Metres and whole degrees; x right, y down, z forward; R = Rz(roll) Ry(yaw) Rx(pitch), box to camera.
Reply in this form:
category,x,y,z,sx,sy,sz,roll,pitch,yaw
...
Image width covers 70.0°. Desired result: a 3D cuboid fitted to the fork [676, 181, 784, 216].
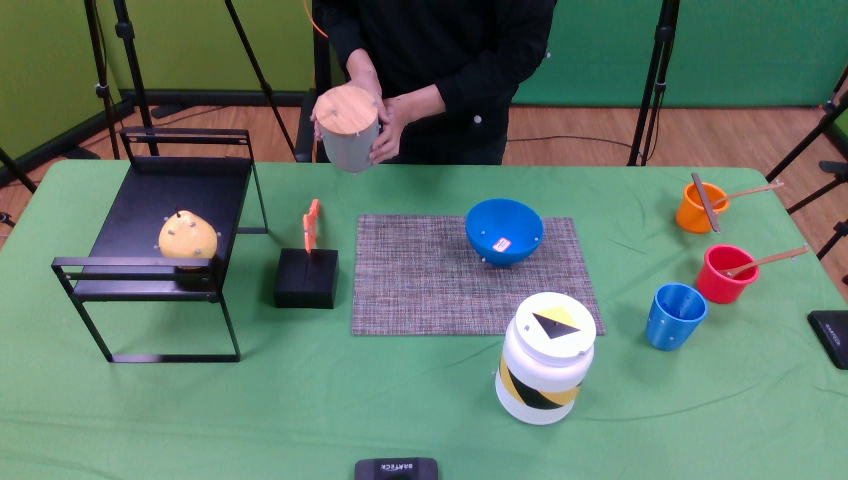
category,x,y,z,sx,sy,sz,roll,pitch,yaw
fork,0.618,-0.084,1.235,0.019,0.207,0.028,54,40,-16

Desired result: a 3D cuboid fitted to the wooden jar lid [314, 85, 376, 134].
category,x,y,z,sx,sy,sz,roll,pitch,yaw
wooden jar lid,-0.137,-0.224,1.056,0.108,0.021,0.108,2,61,-3

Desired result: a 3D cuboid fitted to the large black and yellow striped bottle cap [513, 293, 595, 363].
category,x,y,z,sx,sy,sz,roll,pitch,yaw
large black and yellow striped bottle cap,0.186,0.123,0.863,0.115,0.019,0.114,3,45,-3

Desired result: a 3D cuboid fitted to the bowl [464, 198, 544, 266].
category,x,y,z,sx,sy,sz,roll,pitch,yaw
bowl,0.149,-0.003,1.168,0.151,0.077,0.150,2,46,-2

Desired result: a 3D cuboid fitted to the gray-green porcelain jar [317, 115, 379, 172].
category,x,y,z,sx,sy,sz,roll,pitch,yaw
gray-green porcelain jar,-0.137,-0.195,1.111,0.106,0.127,0.105,1,63,-1

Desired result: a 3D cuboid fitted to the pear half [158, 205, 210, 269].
category,x,y,z,sx,sy,sz,roll,pitch,yaw
pear half,-0.352,-0.015,0.872,0.056,0.110,0.076,25,46,19

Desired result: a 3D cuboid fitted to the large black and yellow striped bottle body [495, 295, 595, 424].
category,x,y,z,sx,sy,sz,roll,pitch,yaw
large black and yellow striped bottle body,0.183,0.182,0.923,0.131,0.185,0.130,2,46,-2

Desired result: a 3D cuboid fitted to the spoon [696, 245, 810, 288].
category,x,y,z,sx,sy,sz,roll,pitch,yaw
spoon,0.601,0.047,1.114,0.193,0.022,0.041,-27,36,33

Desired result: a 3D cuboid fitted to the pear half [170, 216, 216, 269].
category,x,y,z,sx,sy,sz,roll,pitch,yaw
pear half,-0.324,0.007,0.866,0.031,0.088,0.070,25,46,20

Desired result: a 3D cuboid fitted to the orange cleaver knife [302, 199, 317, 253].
category,x,y,z,sx,sy,sz,roll,pitch,yaw
orange cleaver knife,-0.219,-0.031,1.168,0.012,0.077,0.210,-5,17,-3

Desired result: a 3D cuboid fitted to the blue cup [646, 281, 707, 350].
category,x,y,z,sx,sy,sz,roll,pitch,yaw
blue cup,0.425,0.136,1.042,0.092,0.101,0.092,1,44,-1

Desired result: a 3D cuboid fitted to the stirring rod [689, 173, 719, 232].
category,x,y,z,sx,sy,sz,roll,pitch,yaw
stirring rod,0.566,-0.079,1.225,0.014,0.006,0.175,2,45,2
